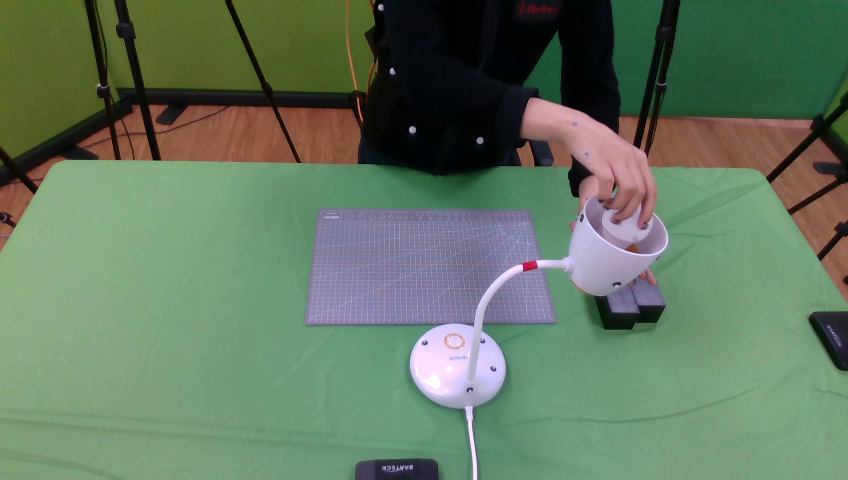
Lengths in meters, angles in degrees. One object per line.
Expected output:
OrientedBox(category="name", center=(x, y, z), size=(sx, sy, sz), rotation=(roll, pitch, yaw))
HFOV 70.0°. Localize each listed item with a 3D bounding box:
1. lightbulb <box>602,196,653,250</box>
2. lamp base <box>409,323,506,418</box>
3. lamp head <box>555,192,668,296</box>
OrientedBox(category="lightbulb", center=(0.250, -0.008, 0.777), size=(0.059, 0.108, 0.059), rotation=(10, 42, -9))
OrientedBox(category="lamp base", center=(0.063, 0.161, 0.940), size=(0.161, 0.181, 0.178), rotation=(-10, 51, -13))
OrientedBox(category="lamp head", center=(0.236, 0.016, 0.794), size=(0.113, 0.123, 0.111), rotation=(14, 43, -13))
